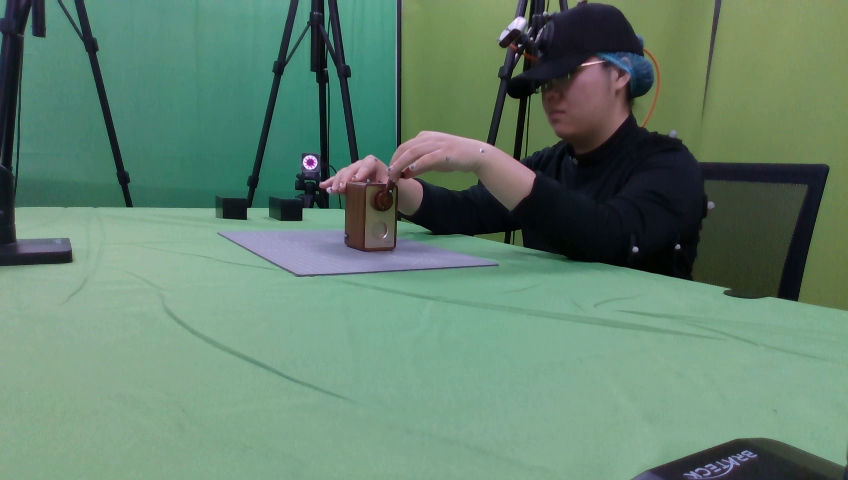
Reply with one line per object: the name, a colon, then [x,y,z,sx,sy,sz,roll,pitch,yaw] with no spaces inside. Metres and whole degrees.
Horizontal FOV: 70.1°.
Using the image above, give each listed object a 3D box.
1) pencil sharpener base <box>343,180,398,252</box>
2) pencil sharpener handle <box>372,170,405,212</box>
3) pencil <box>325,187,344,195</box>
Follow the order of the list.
pencil sharpener base: [-0.085,-0.038,0.957,0.062,0.107,0.076,-2,9,-33]
pencil sharpener handle: [-0.050,-0.074,0.913,0.036,0.067,0.030,21,-4,-34]
pencil: [-0.126,-0.078,1.021,0.012,0.012,0.193,-2,10,-33]
